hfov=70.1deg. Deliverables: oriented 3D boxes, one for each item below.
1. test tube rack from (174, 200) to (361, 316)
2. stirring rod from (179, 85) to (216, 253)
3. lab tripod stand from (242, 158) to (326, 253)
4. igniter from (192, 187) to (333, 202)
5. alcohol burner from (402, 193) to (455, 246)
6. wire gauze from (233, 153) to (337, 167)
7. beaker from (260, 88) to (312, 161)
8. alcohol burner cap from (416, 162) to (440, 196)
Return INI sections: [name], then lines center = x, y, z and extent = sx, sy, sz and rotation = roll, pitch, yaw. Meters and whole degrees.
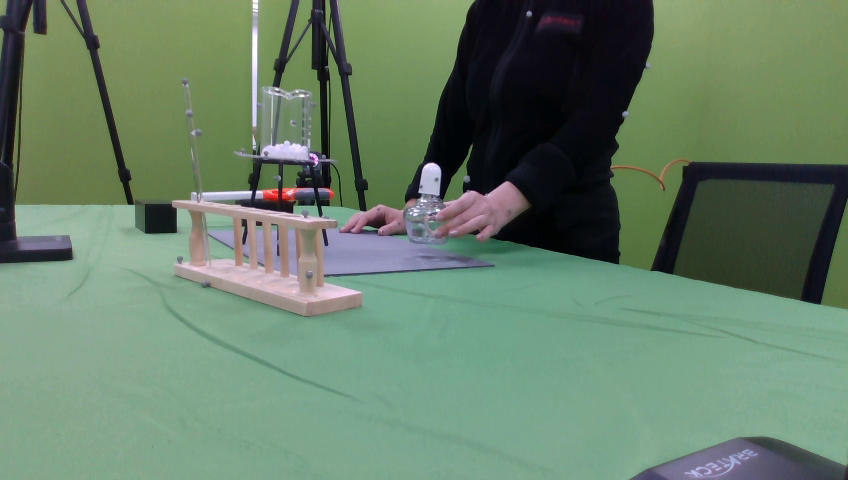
[test tube rack]
center = -0.169, 0.009, 0.622
extent = 0.241, 0.085, 0.067
rotation = 9, 9, 41
[stirring rod]
center = -0.237, -0.073, 0.634
extent = 0.006, 0.176, 0.014
rotation = 0, 10, 42
[lab tripod stand]
center = -0.207, -0.054, 0.895
extent = 0.148, 0.131, 0.148
rotation = 3, 5, 0
[igniter]
center = -0.316, -0.090, 1.213
extent = 0.278, 0.025, 0.057
rotation = -5, 13, -31
[alcohol burner]
center = 0.006, -0.052, 0.876
extent = 0.078, 0.119, 0.078
rotation = 1, 5, 0
[wire gauze]
center = -0.205, -0.119, 0.887
extent = 0.122, 0.011, 0.124
rotation = 2, 4, -32
[beaker]
center = -0.201, -0.166, 0.877
extent = 0.074, 0.100, 0.083
rotation = 1, 7, -18
[alcohol burner cap]
center = 0.007, -0.088, 0.872
extent = 0.034, 0.048, 0.034
rotation = 6, 5, 0
